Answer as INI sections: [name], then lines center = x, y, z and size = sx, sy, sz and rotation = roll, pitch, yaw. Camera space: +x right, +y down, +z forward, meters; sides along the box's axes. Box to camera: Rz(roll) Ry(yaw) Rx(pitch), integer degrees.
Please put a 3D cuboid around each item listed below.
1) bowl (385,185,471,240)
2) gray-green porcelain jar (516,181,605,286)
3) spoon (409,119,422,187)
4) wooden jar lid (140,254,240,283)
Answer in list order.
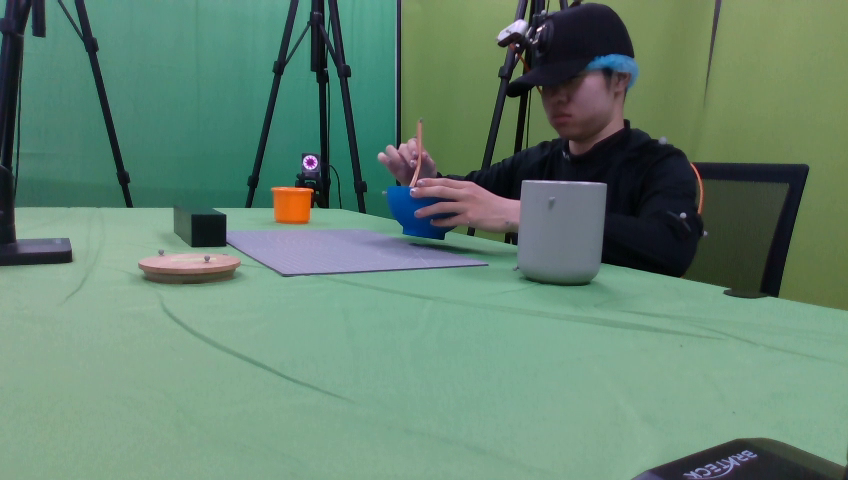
[bowl]
center = 0.002, -0.043, 1.041
size = 0.151, 0.076, 0.151
rotation = 9, -1, 0
[gray-green porcelain jar]
center = 0.172, -0.010, 0.768
size = 0.106, 0.126, 0.106
rotation = 2, 7, 0
[spoon]
center = -0.016, -0.126, 1.061
size = 0.022, 0.193, 0.041
rotation = 10, -20, -3
[wooden jar lid]
center = -0.269, 0.032, 0.698
size = 0.108, 0.020, 0.108
rotation = 2, 5, 0
